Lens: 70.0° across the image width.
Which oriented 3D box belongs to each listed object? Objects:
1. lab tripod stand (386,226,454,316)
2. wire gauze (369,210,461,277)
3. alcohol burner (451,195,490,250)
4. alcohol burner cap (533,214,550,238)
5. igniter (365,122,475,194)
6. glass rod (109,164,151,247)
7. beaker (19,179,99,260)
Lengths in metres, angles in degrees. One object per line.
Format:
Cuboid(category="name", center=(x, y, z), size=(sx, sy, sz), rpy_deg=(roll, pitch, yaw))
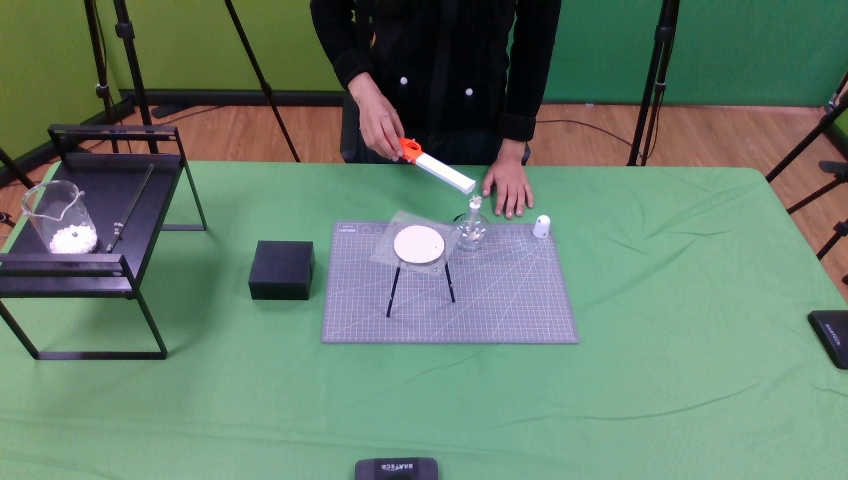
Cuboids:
Cuboid(category="lab tripod stand", center=(-0.014, 0.054, 1.064), size=(0.148, 0.132, 0.147), rpy_deg=(2, 48, -2))
Cuboid(category="wire gauze", center=(-0.013, 0.006, 1.017), size=(0.121, 0.011, 0.124), rpy_deg=(17, 49, 12))
Cuboid(category="alcohol burner", center=(0.092, -0.038, 1.175), size=(0.078, 0.120, 0.077), rpy_deg=(2, 45, -2))
Cuboid(category="alcohol burner cap", center=(0.240, -0.031, 1.228), size=(0.034, 0.048, 0.033), rpy_deg=(1, 46, -1))
Cuboid(category="igniter", center=(-0.016, -0.168, 1.203), size=(0.275, 0.025, 0.057), rpy_deg=(33, 55, 24))
Cuboid(category="glass rod", center=(-0.473, -0.061, 0.979), size=(0.008, 0.008, 0.198), rpy_deg=(1, 46, -3))
Cuboid(category="beaker", center=(-0.522, -0.024, 0.878), size=(0.074, 0.101, 0.083), rpy_deg=(-26, 54, -25))
